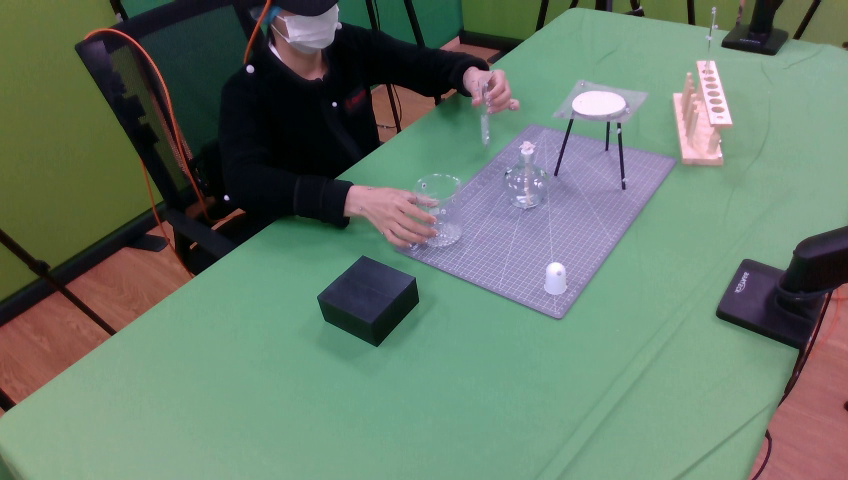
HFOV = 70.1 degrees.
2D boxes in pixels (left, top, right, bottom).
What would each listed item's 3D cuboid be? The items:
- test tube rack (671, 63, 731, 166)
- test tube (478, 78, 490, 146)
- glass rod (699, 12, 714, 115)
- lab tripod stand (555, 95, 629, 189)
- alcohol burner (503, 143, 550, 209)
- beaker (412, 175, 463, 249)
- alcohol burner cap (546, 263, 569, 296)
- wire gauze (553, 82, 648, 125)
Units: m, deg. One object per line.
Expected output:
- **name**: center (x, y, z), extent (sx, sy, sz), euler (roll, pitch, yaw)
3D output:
- **test tube rack**: center (0.513, -0.241, 1.132), extent (0.066, 0.085, 0.242), euler (4, 41, 14)
- **test tube**: center (0.108, -0.226, 1.086), extent (0.017, 0.151, 0.017), euler (-4, 52, 6)
- **glass rod**: center (0.525, -0.323, 1.124), extent (0.008, 0.201, 0.008), euler (-8, 38, 6)
- **lab tripod stand**: center (0.300, -0.174, 1.045), extent (0.148, 0.132, 0.147), euler (-5, 38, 5)
- **alcohol burner**: center (0.171, -0.112, 1.006), extent (0.078, 0.119, 0.077), euler (-4, 41, 4)
- **beaker**: center (0.027, -0.043, 0.959), extent (0.084, 0.101, 0.073), euler (-25, 43, -20)
- **alcohol burner cap**: center (0.191, 0.053, 0.862), extent (0.034, 0.048, 0.033), euler (-5, 40, 4)
- **wire gauze**: center (0.293, -0.226, 1.002), extent (0.120, 0.011, 0.125), euler (17, 45, 27)
